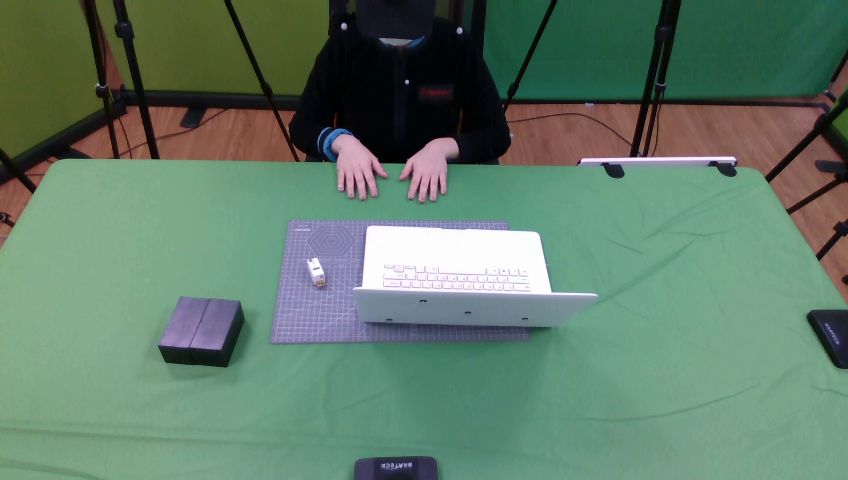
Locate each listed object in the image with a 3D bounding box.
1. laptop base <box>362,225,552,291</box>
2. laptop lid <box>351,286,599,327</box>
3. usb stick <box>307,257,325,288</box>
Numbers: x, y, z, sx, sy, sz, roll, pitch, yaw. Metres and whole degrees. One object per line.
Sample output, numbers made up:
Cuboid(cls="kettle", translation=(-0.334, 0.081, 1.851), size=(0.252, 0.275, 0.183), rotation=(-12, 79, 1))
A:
Cuboid(cls="laptop base", translation=(0.061, 0.063, 1.145), size=(0.354, 0.023, 0.234), rotation=(2, 43, -3))
Cuboid(cls="laptop lid", translation=(0.068, 0.109, 0.952), size=(0.357, 0.242, 0.013), rotation=(2, 71, -4))
Cuboid(cls="usb stick", translation=(-0.198, 0.062, 1.116), size=(0.021, 0.027, 0.059), rotation=(-15, 52, -19))
